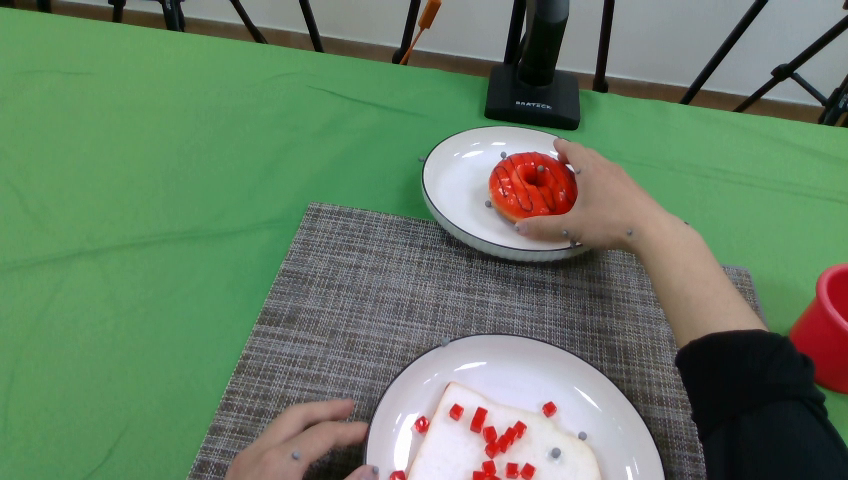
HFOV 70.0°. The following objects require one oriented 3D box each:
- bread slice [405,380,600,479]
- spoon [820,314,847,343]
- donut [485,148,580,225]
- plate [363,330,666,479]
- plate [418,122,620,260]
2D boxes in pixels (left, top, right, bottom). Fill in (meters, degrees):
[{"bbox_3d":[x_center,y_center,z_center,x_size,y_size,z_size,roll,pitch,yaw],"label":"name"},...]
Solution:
[{"bbox_3d":[0.058,0.161,0.427,0.131,0.019,0.104,17,47,12],"label":"bread slice"},{"bbox_3d":[0.354,0.077,0.468,0.041,0.021,0.194,25,5,16],"label":"spoon"},{"bbox_3d":[0.111,-0.055,0.624,0.099,0.048,0.098,4,46,-4],"label":"donut"},{"bbox_3d":[0.061,0.158,0.427,0.209,0.038,0.207,3,46,-3],"label":"plate"},{"bbox_3d":[0.096,-0.050,0.633,0.208,0.039,0.205,4,44,-3],"label":"plate"}]
